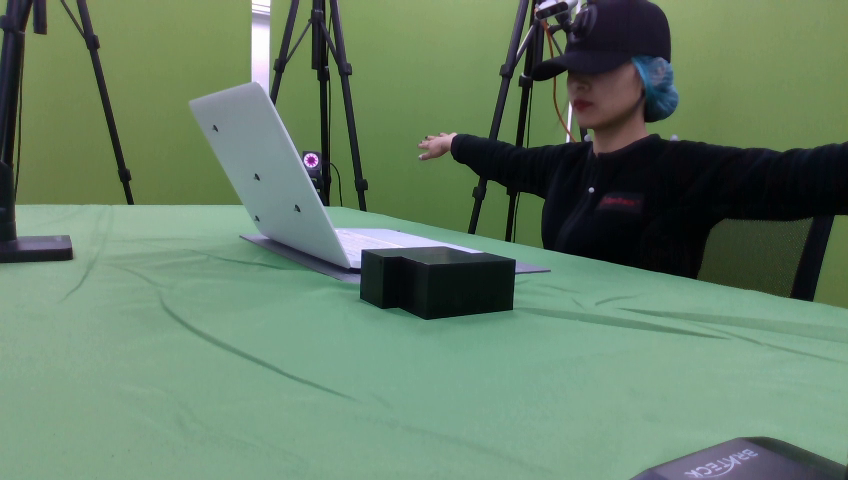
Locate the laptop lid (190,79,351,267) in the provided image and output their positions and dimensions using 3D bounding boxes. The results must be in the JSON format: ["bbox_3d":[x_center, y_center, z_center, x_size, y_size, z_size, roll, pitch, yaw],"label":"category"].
[{"bbox_3d":[-0.220,-0.087,0.809,0.013,0.242,0.355,-34,25,-24],"label":"laptop lid"}]

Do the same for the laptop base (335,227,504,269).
[{"bbox_3d":[-0.077,0.009,0.914,0.237,0.023,0.352,1,6,-33],"label":"laptop base"}]
